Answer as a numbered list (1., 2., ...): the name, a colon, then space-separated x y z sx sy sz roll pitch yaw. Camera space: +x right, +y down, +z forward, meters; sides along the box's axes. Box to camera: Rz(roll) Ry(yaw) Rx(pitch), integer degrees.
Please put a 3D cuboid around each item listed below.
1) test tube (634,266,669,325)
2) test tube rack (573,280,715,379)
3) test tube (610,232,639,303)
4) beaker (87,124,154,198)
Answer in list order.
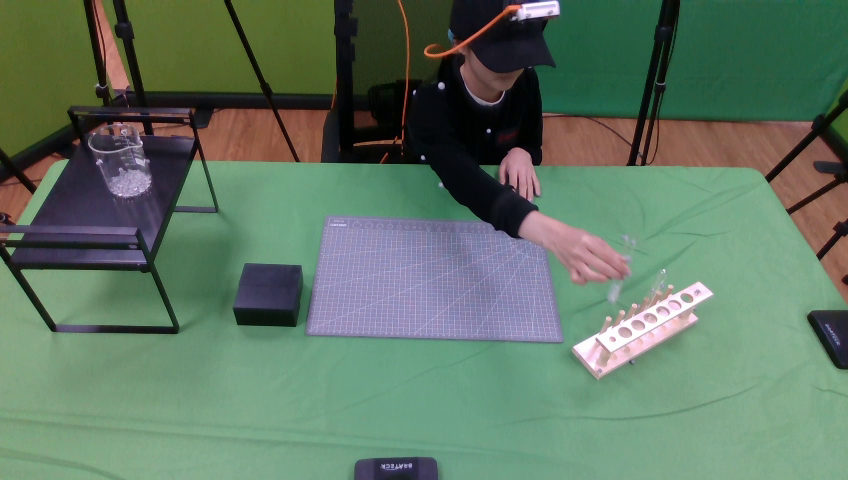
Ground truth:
1. test tube: 0.382 0.095 1.020 0.017 0.151 0.017 2 48 -2
2. test tube rack: 0.378 0.140 1.038 0.242 0.085 0.066 -22 51 -23
3. test tube: 0.303 0.046 0.921 0.017 0.151 0.017 -1 46 2
4. beaker: -0.482 -0.124 0.978 0.084 0.101 0.073 9 46 4
